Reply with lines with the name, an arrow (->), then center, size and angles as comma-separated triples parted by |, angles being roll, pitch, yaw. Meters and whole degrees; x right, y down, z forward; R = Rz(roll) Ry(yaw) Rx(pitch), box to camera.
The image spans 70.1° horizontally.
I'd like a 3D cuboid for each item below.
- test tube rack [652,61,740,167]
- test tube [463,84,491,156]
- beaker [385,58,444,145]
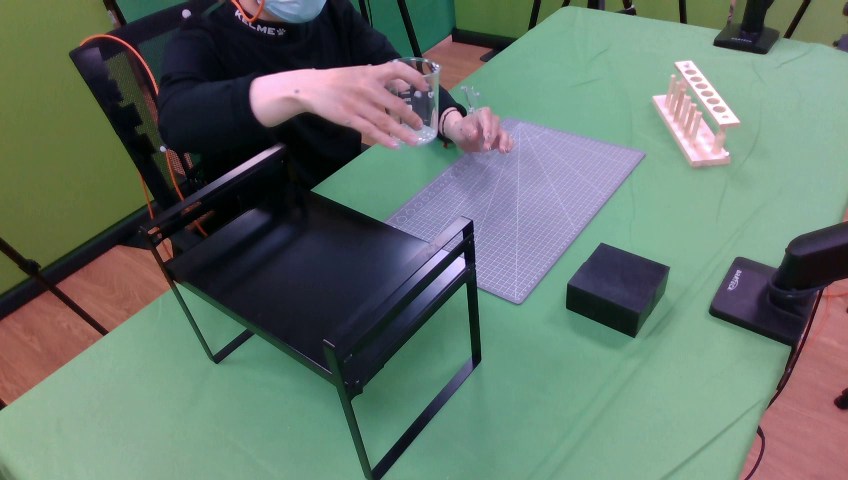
test tube rack -> 0.499, -0.242, 1.130 | 0.067, 0.085, 0.241 | -5, 41, 4
test tube -> 0.090, -0.195, 0.998 | 0.017, 0.151, 0.017 | -10, 50, 13
beaker -> -0.011, -0.188, 0.823 | 0.084, 0.100, 0.073 | -19, 40, -26
